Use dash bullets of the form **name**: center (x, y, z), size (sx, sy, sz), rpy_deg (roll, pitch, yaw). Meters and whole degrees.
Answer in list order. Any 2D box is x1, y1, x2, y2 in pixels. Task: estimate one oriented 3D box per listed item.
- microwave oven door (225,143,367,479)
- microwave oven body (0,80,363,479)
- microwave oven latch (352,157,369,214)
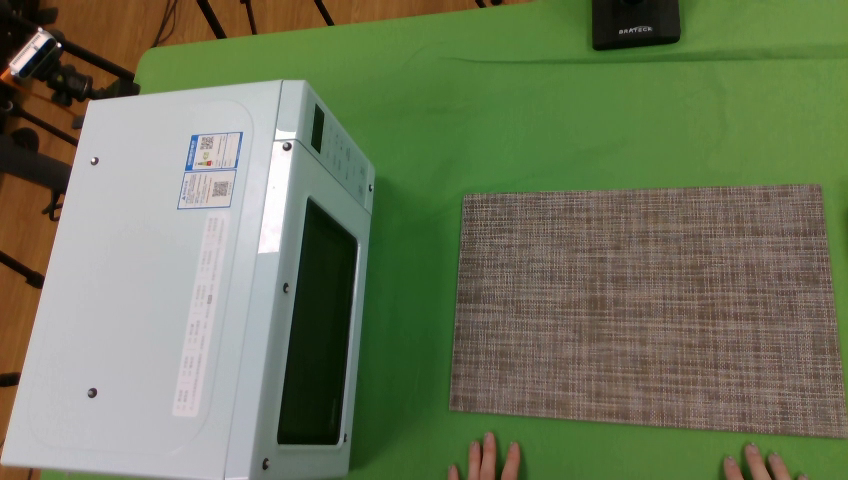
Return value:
- **microwave oven door**: center (-0.136, 0.098, 0.717), size (0.039, 0.246, 0.353), rpy_deg (-2, 71, 15)
- **microwave oven body**: center (-0.274, 0.065, 0.772), size (0.325, 0.262, 0.439), rpy_deg (-2, 72, 14)
- **microwave oven latch**: center (-0.096, -0.078, 0.875), size (0.030, 0.030, 0.078), rpy_deg (-1, 73, 15)
